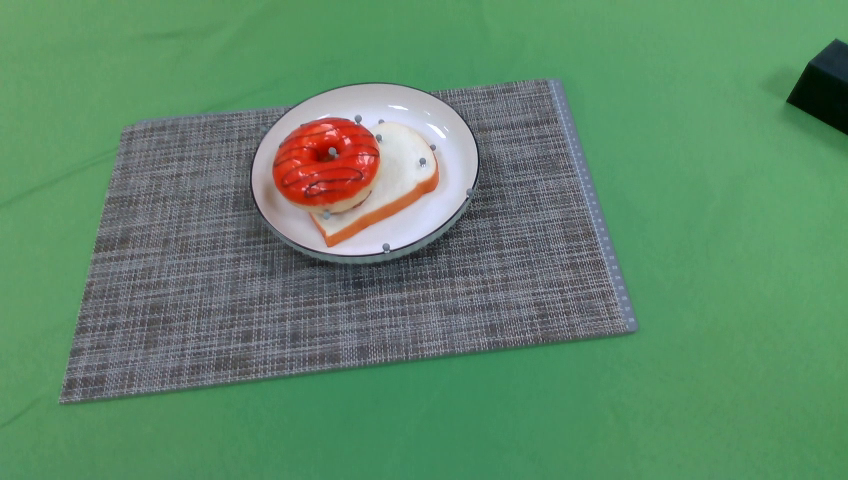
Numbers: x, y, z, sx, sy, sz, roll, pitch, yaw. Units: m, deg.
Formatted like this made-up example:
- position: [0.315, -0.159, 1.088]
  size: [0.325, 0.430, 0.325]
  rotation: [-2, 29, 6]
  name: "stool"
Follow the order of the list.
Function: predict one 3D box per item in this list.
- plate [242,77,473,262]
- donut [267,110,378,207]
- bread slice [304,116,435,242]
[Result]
- position: [-0.059, -0.065, 0.558]
  size: [0.207, 0.039, 0.205]
  rotation: [-1, 57, 2]
  name: "plate"
- position: [-0.089, -0.073, 0.531]
  size: [0.099, 0.048, 0.098]
  rotation: [-3, 59, 5]
  name: "donut"
- position: [-0.058, -0.067, 0.562]
  size: [0.131, 0.019, 0.104]
  rotation: [-29, 60, -14]
  name: "bread slice"
